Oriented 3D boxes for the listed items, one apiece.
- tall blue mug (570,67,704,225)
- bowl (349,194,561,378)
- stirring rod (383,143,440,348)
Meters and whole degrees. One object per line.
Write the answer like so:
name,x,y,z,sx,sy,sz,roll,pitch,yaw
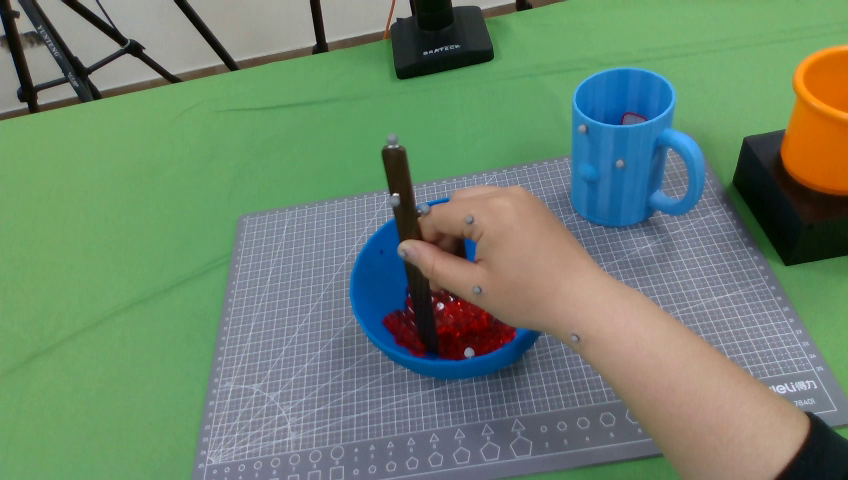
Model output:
tall blue mug,0.175,-0.072,0.499,0.106,0.109,0.077,12,52,22
bowl,0.026,0.045,0.450,0.151,0.077,0.150,-6,48,7
stirring rod,-0.005,0.013,0.378,0.014,0.178,0.005,2,44,12
